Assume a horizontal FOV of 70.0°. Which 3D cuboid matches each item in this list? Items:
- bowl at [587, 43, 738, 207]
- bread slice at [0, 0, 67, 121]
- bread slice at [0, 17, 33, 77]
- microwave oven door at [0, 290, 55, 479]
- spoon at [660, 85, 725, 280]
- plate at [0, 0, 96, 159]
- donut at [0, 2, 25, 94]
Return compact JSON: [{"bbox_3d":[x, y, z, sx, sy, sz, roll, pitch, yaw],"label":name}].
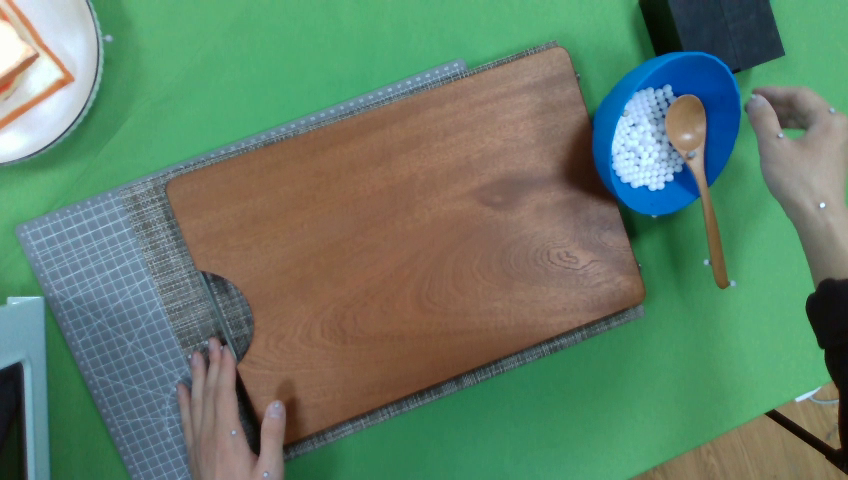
[{"bbox_3d":[0.211,-0.114,0.578,0.152,0.076,0.152,-10,117,-21],"label":"bowl"},{"bbox_3d":[-0.400,-0.169,0.528,0.105,0.019,0.132,-37,98,-5],"label":"bread slice"},{"bbox_3d":[-0.388,-0.167,0.470,0.107,0.018,0.134,-40,92,-2],"label":"bread slice"},{"bbox_3d":[-0.344,0.229,0.443,0.039,0.243,0.356,-1,94,-7],"label":"microwave oven door"},{"bbox_3d":[0.266,-0.053,0.586,0.042,0.021,0.194,-16,94,-8],"label":"spoon"},{"bbox_3d":[-0.393,-0.171,0.528,0.208,0.039,0.208,0,94,-7],"label":"plate"},{"bbox_3d":[-0.386,-0.163,0.500,0.099,0.048,0.099,-1,96,-14],"label":"donut"}]
